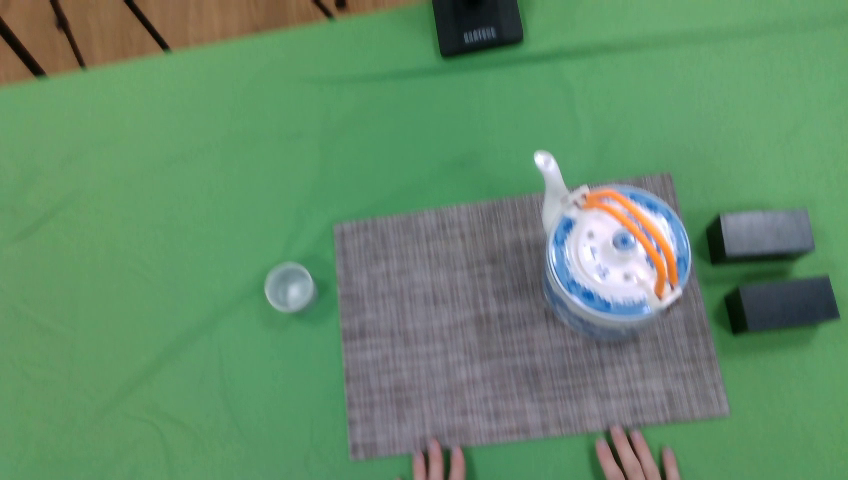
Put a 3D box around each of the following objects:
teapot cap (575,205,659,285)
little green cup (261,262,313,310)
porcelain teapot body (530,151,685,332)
[{"bbox_3d":[0.195,0.003,0.614,0.085,0.044,0.084,-2,71,7],"label":"teapot cap"},{"bbox_3d":[-0.175,0.062,0.787,0.061,0.039,0.061,-2,73,7],"label":"little green cup"},{"bbox_3d":[0.182,-0.006,0.659,0.145,0.227,0.204,-40,72,-4],"label":"porcelain teapot body"}]
